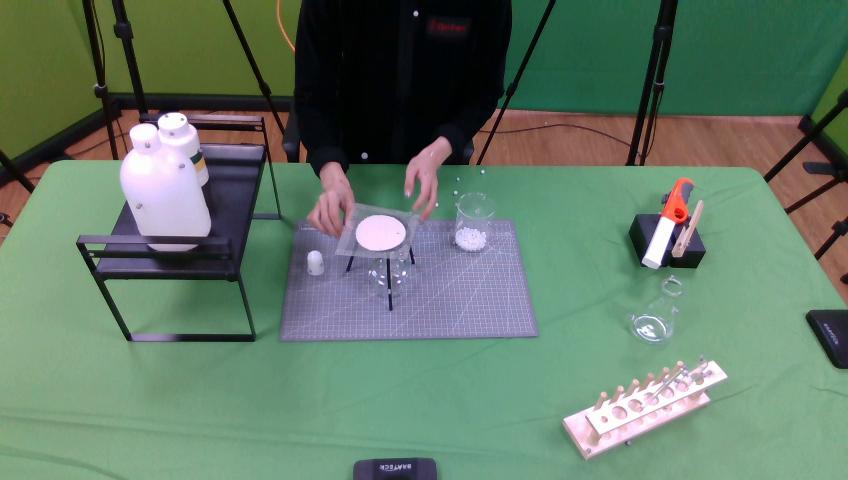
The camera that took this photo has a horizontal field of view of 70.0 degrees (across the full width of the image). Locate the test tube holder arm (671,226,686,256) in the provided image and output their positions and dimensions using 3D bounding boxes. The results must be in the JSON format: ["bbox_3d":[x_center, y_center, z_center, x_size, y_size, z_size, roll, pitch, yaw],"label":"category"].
[{"bbox_3d":[0.494,0.001,1.166,0.010,0.015,0.087,1,36,42],"label":"test tube holder arm"}]

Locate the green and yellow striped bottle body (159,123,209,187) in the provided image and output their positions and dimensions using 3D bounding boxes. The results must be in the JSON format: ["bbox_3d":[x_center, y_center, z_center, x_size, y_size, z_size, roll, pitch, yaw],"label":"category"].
[{"bbox_3d":[-0.395,-0.145,0.989,0.063,0.120,0.063,2,46,-2],"label":"green and yellow striped bottle body"}]

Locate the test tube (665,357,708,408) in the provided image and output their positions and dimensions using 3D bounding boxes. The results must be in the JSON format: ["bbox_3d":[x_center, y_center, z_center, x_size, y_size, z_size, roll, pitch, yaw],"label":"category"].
[{"bbox_3d":[0.387,0.216,0.905,0.017,0.151,0.017,1,52,-1],"label":"test tube"}]

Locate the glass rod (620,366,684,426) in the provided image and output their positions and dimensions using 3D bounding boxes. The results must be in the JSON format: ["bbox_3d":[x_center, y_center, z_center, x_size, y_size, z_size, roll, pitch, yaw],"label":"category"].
[{"bbox_3d":[0.322,0.227,0.866,0.008,0.200,0.008,5,51,-7],"label":"glass rod"}]

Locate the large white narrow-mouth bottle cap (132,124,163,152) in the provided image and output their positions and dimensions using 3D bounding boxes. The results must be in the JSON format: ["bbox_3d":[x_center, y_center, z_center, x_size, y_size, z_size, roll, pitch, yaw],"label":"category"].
[{"bbox_3d":[-0.371,-0.137,0.813,0.038,0.024,0.037,3,46,-3],"label":"large white narrow-mouth bottle cap"}]

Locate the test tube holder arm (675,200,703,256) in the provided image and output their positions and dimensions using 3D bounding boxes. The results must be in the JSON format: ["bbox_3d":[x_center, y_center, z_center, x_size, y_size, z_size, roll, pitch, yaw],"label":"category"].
[{"bbox_3d":[0.523,-0.025,1.190,0.013,0.015,0.178,1,36,41],"label":"test tube holder arm"}]

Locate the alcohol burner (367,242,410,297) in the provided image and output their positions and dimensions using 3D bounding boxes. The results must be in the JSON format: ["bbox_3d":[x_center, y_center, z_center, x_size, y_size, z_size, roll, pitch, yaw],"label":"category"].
[{"bbox_3d":[-0.064,0.047,1.080,0.078,0.120,0.077,1,47,-1],"label":"alcohol burner"}]

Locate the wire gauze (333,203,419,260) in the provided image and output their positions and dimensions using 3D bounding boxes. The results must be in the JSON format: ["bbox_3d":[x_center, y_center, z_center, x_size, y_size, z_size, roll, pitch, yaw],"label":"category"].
[{"bbox_3d":[-0.079,-0.014,1.030,0.121,0.011,0.124,8,45,6],"label":"wire gauze"}]

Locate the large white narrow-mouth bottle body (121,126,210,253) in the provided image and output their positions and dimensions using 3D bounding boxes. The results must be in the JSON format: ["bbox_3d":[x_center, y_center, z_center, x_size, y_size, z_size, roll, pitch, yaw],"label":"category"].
[{"bbox_3d":[-0.378,-0.077,0.875,0.102,0.195,0.101,3,46,-3],"label":"large white narrow-mouth bottle body"}]

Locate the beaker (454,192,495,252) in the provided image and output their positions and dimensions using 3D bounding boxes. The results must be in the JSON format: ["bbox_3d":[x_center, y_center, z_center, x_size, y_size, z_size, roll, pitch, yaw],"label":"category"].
[{"bbox_3d":[0.097,-0.034,1.180,0.074,0.101,0.084,23,48,16],"label":"beaker"}]

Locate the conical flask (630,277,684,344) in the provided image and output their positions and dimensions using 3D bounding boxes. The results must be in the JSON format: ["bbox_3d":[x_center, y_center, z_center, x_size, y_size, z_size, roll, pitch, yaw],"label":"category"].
[{"bbox_3d":[0.408,0.117,1.045,0.075,0.122,0.075,2,46,-2],"label":"conical flask"}]

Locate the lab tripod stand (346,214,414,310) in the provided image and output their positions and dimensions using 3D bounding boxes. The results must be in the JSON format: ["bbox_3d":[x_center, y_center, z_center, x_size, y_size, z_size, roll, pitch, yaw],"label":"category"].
[{"bbox_3d":[-0.075,0.030,1.082,0.148,0.132,0.147,1,47,-1],"label":"lab tripod stand"}]

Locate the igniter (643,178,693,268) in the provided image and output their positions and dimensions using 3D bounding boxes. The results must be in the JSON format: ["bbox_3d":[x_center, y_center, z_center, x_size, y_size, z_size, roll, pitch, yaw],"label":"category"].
[{"bbox_3d":[0.488,-0.042,1.205,0.057,0.025,0.276,30,51,11],"label":"igniter"}]

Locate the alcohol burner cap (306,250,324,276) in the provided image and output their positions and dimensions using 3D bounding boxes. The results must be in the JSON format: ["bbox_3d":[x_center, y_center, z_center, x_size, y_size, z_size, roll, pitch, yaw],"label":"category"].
[{"bbox_3d":[-0.204,0.041,1.125,0.034,0.048,0.033,2,46,-2],"label":"alcohol burner cap"}]

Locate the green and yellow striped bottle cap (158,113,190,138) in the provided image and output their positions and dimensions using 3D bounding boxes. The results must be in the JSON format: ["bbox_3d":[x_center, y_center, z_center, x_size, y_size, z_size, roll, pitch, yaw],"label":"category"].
[{"bbox_3d":[-0.393,-0.180,0.951,0.045,0.020,0.045,2,44,-2],"label":"green and yellow striped bottle cap"}]

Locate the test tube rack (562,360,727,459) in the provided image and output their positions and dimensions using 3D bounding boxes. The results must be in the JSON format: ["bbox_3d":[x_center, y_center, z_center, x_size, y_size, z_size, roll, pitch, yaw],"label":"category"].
[{"bbox_3d":[0.341,0.247,0.940,0.243,0.085,0.066,-16,49,-19],"label":"test tube rack"}]
